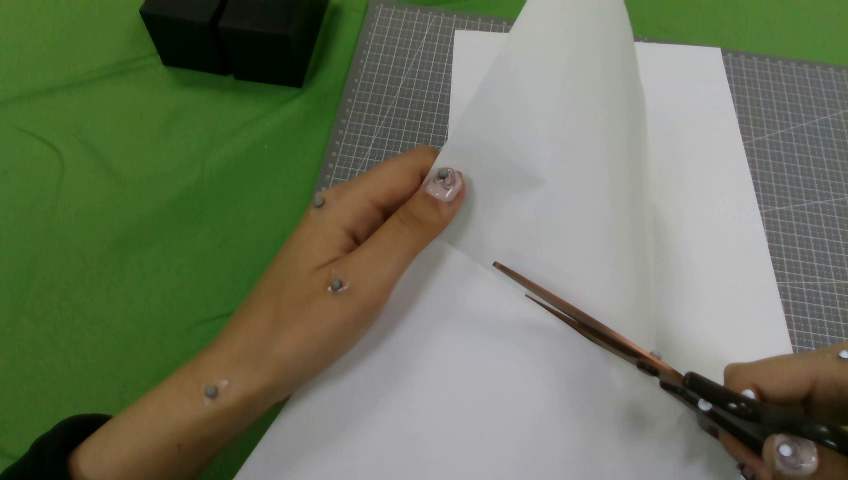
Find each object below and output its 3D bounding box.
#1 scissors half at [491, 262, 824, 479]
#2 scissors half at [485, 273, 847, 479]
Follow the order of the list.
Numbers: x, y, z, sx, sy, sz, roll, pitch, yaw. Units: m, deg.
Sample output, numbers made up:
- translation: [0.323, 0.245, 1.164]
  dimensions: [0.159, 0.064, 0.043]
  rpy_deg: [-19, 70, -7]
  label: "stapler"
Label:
- translation: [0.099, 0.056, 0.254]
  dimensions: [0.176, 0.040, 0.013]
  rpy_deg: [33, 82, -13]
  label: "scissors half"
- translation: [0.099, 0.052, 0.230]
  dimensions: [0.174, 0.040, 0.013]
  rpy_deg: [27, 76, 23]
  label: "scissors half"
